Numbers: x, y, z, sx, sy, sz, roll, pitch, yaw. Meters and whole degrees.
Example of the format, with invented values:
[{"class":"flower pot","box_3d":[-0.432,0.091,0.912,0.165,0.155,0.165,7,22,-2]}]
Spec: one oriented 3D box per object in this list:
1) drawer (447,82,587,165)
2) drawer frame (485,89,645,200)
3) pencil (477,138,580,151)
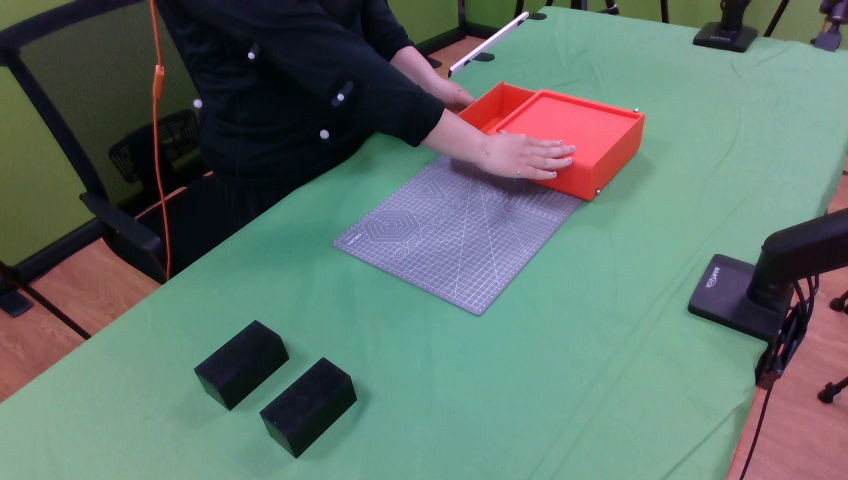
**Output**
[{"class":"drawer","box_3d":[0.183,-0.208,1.139,0.210,0.073,0.195,24,48,31]},{"class":"drawer frame","box_3d":[0.253,-0.179,1.094,0.212,0.083,0.202,24,48,31]},{"class":"pencil","box_3d":[0.196,-0.179,1.144,0.194,0.012,0.012,-4,40,9]}]
